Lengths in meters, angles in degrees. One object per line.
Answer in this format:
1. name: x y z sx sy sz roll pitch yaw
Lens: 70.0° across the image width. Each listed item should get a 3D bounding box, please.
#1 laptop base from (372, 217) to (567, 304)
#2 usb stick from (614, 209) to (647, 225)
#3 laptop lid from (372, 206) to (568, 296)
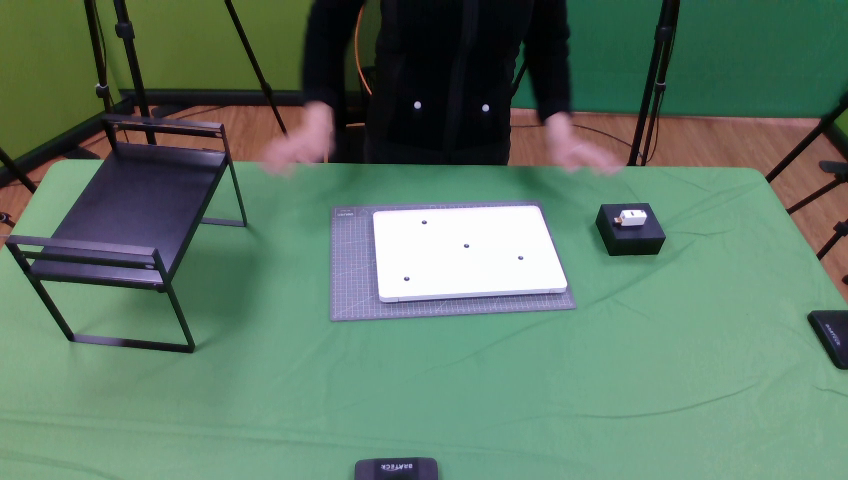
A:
1. laptop base: 0.081 0.024 1.181 0.355 0.023 0.234 -3 43 -6
2. usb stick: 0.407 -0.045 1.195 0.059 0.027 0.021 -4 48 -4
3. laptop lid: 0.081 0.014 1.174 0.357 0.013 0.240 -1 44 -5
